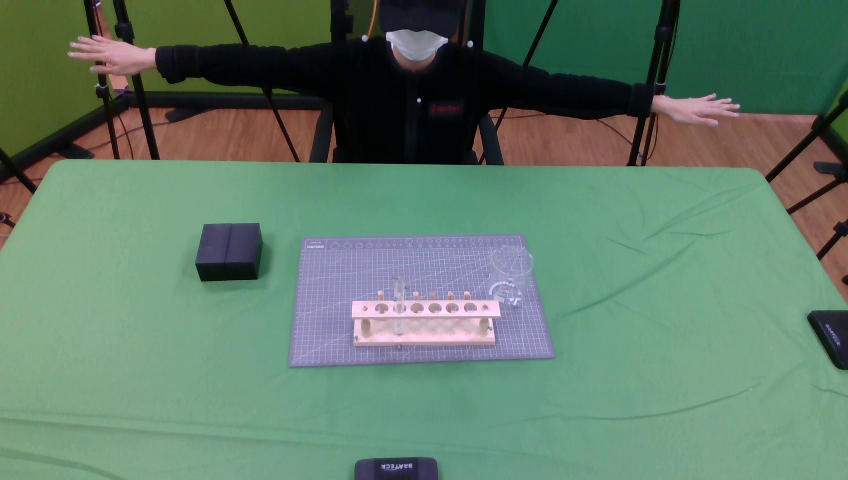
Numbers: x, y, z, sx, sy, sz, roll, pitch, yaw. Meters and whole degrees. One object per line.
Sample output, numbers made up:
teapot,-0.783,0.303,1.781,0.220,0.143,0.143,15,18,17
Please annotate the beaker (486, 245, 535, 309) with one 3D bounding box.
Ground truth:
beaker,0.149,0.068,1.087,0.084,0.101,0.073,13,46,9

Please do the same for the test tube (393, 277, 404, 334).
test tube,-0.041,0.108,0.972,0.017,0.151,0.017,2,50,-2

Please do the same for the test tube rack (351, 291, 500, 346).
test tube rack,0.000,0.129,1.026,0.242,0.085,0.066,0,46,-4
